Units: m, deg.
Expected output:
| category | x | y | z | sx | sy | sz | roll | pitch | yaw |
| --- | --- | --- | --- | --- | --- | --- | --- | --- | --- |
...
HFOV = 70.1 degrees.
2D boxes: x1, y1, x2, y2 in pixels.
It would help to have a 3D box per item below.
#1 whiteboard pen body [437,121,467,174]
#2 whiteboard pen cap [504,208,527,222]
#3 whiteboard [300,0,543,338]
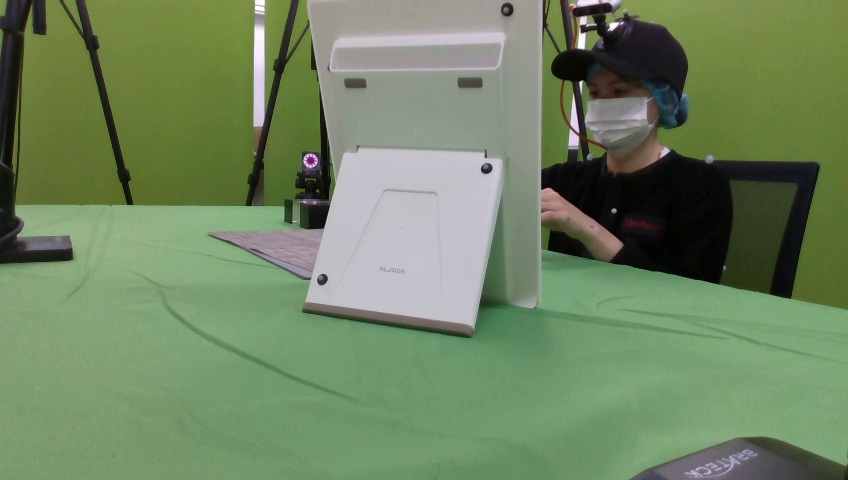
| category | x | y | z | sx | sy | sz | roll | pitch | yaw |
| --- | --- | --- | --- | --- | --- | --- | --- | --- | --- |
| whiteboard pen body | 0.046 | -0.149 | 0.973 | 0.017 | 0.017 | 0.140 | 0 | 43 | -21 |
| whiteboard pen cap | 0.142 | -0.040 | 0.942 | 0.033 | 0.018 | 0.018 | 15 | 13 | 32 |
| whiteboard | -0.020 | -0.050 | 0.523 | 0.216 | 0.305 | 0.144 | 6 | 27 | 22 |
